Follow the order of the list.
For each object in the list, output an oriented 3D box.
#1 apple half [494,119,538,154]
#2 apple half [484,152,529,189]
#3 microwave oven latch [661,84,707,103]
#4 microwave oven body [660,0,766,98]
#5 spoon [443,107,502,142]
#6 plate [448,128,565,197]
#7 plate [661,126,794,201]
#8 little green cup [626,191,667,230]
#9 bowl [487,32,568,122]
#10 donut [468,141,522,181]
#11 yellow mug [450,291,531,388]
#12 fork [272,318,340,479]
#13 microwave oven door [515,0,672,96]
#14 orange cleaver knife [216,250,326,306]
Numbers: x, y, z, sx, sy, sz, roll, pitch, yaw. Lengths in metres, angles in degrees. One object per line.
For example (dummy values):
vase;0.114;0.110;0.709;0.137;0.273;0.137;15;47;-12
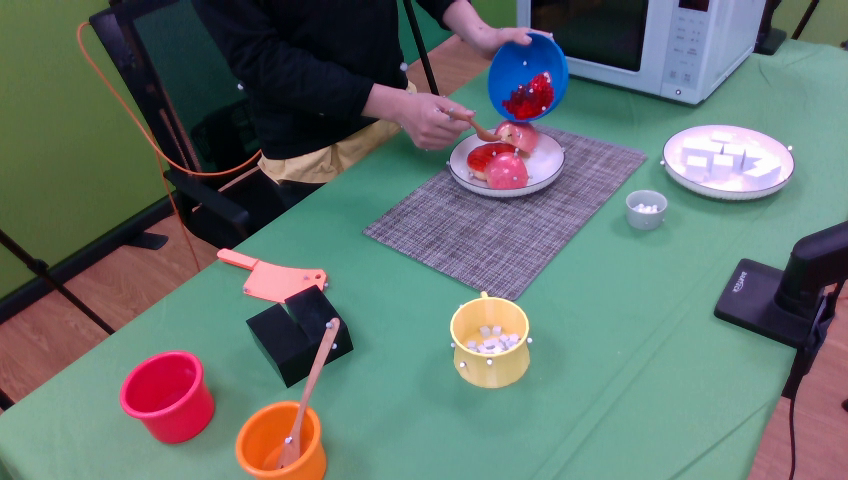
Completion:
apple half;0.176;-0.197;1.113;0.080;0.053;0.075;31;13;34
apple half;0.144;-0.116;1.032;0.081;0.033;0.081;2;77;-10
microwave oven latch;0.517;-0.296;1.204;0.078;0.029;0.030;27;52;35
microwave oven body;0.472;-0.513;1.317;0.438;0.261;0.327;26;51;34
spoon;0.079;-0.190;0.995;0.041;0.195;0.021;8;85;31
plate;0.150;-0.138;1.097;0.209;0.038;0.208;-4;40;4
plate;0.513;-0.128;1.035;0.207;0.039;0.206;-4;40;4
little green cup;0.352;-0.046;0.963;0.061;0.039;0.061;-4;40;4
bowl;0.195;-0.282;1.070;0.150;0.151;0.077;26;20;33
donut;0.128;-0.144;1.091;0.099;0.048;0.098;-7;37;6
yellow mug;0.085;0.120;0.786;0.100;0.064;0.130;-7;39;1
fork;-0.131;0.186;0.676;0.028;0.019;0.207;17;90;28
microwave oven door;0.344;-0.455;1.259;0.353;0.245;0.039;26;51;33
orange cleaver knife;-0.248;0.058;0.945;0.210;0.012;0.077;13;49;20
